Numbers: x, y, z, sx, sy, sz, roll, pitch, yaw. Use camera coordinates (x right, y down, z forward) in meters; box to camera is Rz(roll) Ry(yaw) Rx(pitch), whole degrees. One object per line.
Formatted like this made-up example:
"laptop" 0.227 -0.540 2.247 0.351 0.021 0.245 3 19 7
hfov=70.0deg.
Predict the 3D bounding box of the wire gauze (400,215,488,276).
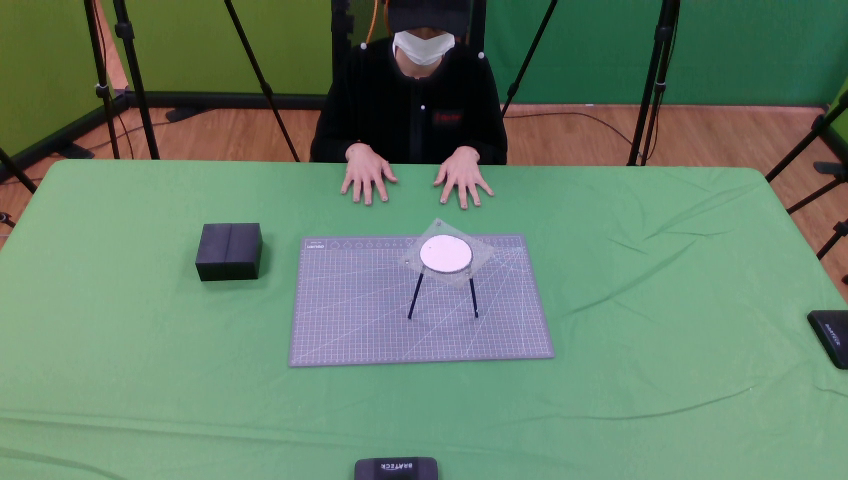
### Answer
"wire gauze" 0.035 0.004 1.000 0.125 0.011 0.121 7 49 13

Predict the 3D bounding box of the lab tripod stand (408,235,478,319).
"lab tripod stand" 0.032 0.065 1.057 0.148 0.132 0.147 1 45 -1
